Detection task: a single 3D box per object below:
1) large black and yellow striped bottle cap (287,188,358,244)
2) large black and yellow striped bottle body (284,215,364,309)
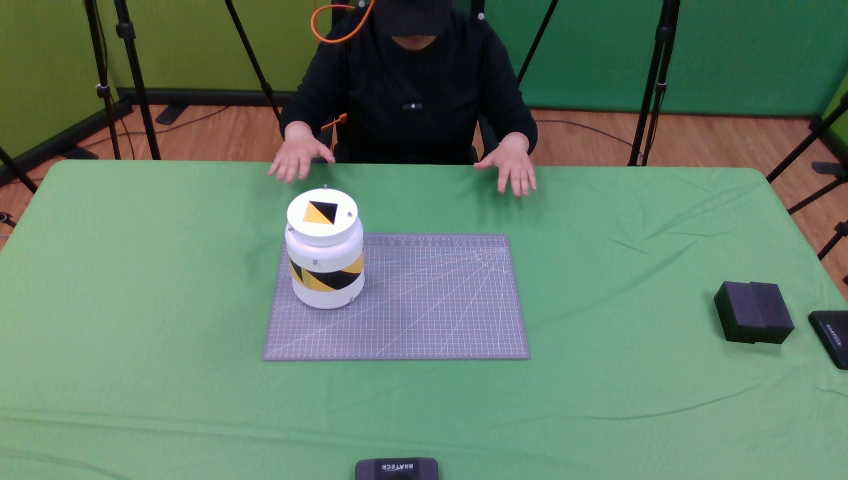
[{"bbox_3d":[-0.166,-0.041,0.991,0.115,0.019,0.114,2,46,-1],"label":"large black and yellow striped bottle cap"},{"bbox_3d":[-0.171,0.017,1.052,0.131,0.185,0.130,2,46,-2],"label":"large black and yellow striped bottle body"}]
